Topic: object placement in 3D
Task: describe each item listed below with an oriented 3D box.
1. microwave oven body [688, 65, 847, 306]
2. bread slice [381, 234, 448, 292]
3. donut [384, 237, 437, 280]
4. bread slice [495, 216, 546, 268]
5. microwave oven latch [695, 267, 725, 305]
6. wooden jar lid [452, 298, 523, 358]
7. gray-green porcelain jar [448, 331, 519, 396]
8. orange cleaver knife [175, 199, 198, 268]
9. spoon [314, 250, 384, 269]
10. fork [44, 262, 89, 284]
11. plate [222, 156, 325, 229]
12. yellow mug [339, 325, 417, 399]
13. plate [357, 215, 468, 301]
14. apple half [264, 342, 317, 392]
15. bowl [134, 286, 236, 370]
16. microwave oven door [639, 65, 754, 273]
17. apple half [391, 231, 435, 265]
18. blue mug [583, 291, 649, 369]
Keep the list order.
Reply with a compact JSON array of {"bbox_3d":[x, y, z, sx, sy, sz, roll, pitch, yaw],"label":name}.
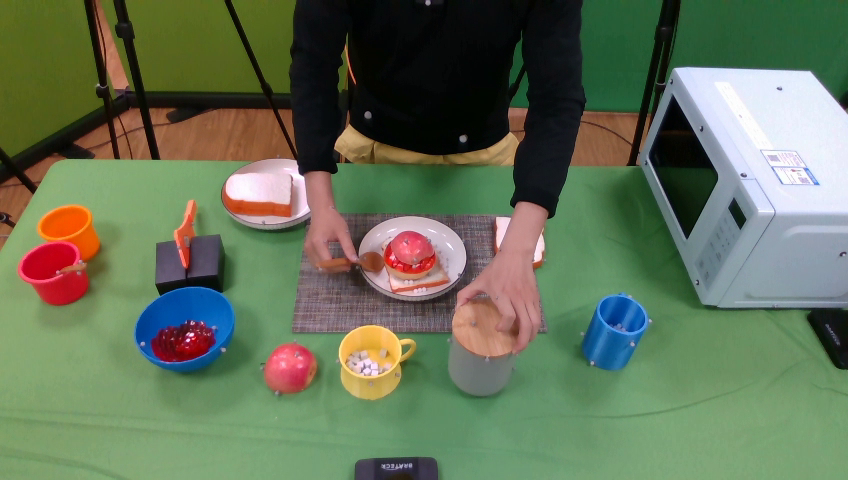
[{"bbox_3d":[0.669,-0.111,1.176,0.326,0.261,0.439,0,46,-3],"label":"microwave oven body"},{"bbox_3d":[-0.027,0.040,1.142,0.107,0.018,0.133,-11,50,-15],"label":"bread slice"},{"bbox_3d":[-0.025,0.029,1.109,0.099,0.048,0.098,1,48,-1],"label":"donut"},{"bbox_3d":[0.194,0.002,1.205,0.105,0.019,0.131,5,45,2],"label":"bread slice"},{"bbox_3d":[0.524,0.082,1.115,0.030,0.029,0.078,5,46,2],"label":"microwave oven latch"},{"bbox_3d":[0.095,0.135,0.915,0.108,0.021,0.107,3,48,-3],"label":"wooden jar lid"},{"bbox_3d":[0.093,0.177,0.960,0.106,0.127,0.105,2,47,-2],"label":"gray-green porcelain jar"},{"bbox_3d":[-0.438,-0.017,1.138,0.012,0.077,0.210,-13,27,-7],"label":"orange cleaver knife"},{"bbox_3d":[-0.129,0.036,1.065,0.041,0.021,0.194,62,23,14],"label":"spoon"},{"bbox_3d":[-0.598,0.054,1.014,0.207,0.019,0.028,-15,29,45],"label":"fork"},{"bbox_3d":[-0.308,-0.095,1.251,0.209,0.038,0.208,2,47,-2],"label":"plate"},{"bbox_3d":[-0.071,0.190,0.978,0.131,0.064,0.099,-17,50,-20],"label":"yellow mug"},{"bbox_3d":[-0.022,0.037,1.142,0.208,0.039,0.206,2,46,-2],"label":"plate"},{"bbox_3d":[-0.214,0.198,0.970,0.074,0.053,0.080,19,48,10],"label":"apple half"},{"bbox_3d":[-0.377,0.156,0.981,0.151,0.077,0.150,2,46,-2],"label":"bowl"},{"bbox_3d":[0.522,-0.147,1.193,0.039,0.245,0.353,0,47,-3],"label":"microwave oven door"},{"bbox_3d":[-0.021,0.005,1.085,0.081,0.033,0.081,7,42,-6],"label":"apple half"},{"bbox_3d":[0.324,0.142,1.023,0.082,0.106,0.116,15,47,11],"label":"blue mug"}]
